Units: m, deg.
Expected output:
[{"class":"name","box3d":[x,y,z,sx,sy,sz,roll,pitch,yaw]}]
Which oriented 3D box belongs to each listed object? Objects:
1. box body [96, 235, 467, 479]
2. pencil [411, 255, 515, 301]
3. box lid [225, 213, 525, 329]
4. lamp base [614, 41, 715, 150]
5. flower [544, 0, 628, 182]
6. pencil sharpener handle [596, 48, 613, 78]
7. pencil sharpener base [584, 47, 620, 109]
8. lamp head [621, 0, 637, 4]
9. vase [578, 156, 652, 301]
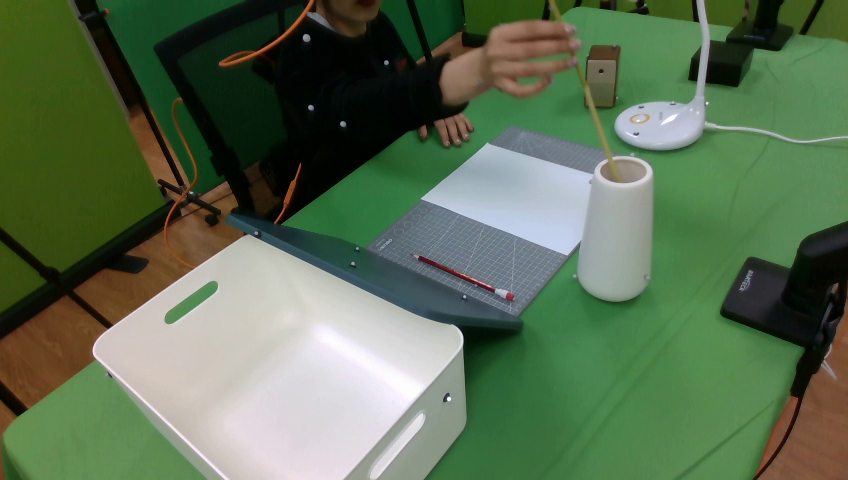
[{"class":"box body","box3d":[-0.155,0.169,0.707,0.361,0.161,0.255,23,49,33]},{"class":"pencil","box3d":[0.054,0.054,0.918,0.192,0.012,0.012,21,49,33]},{"class":"box lid","box3d":[-0.066,0.042,0.816,0.368,0.265,0.015,22,93,32]},{"class":"lamp base","box3d":[0.449,-0.277,1.106,0.179,0.181,0.160,1,41,9]},{"class":"flower","box3d":[0.173,-0.216,0.711,0.044,0.363,0.038,-44,24,-30]},{"class":"pencil sharpener handle","box3d":[0.383,-0.378,1.276,0.036,0.068,0.030,3,41,21]},{"class":"pencil sharpener base","box3d":[0.368,-0.336,1.248,0.061,0.107,0.076,6,42,19]},{"class":"lamp head","box3d":[0.319,-0.453,0.962,0.113,0.123,0.112,20,33,-13]},{"class":"vase","box3d":[0.261,-0.011,0.812,0.098,0.201,0.097,-4,40,4]}]
